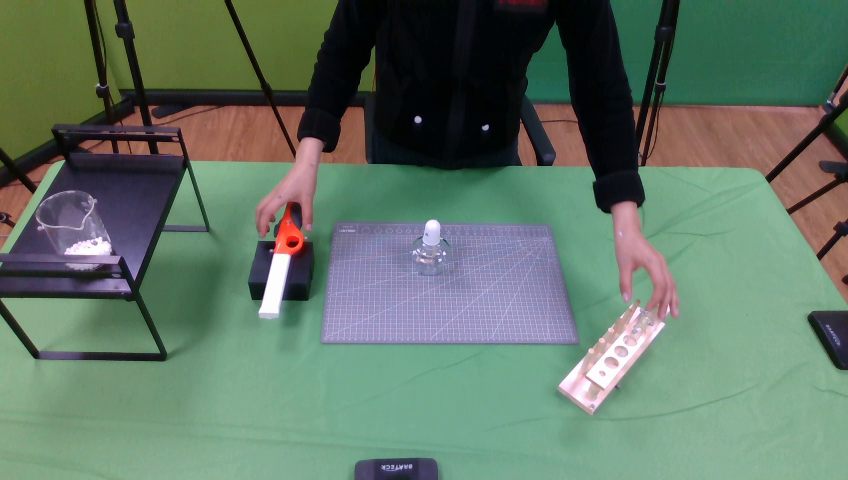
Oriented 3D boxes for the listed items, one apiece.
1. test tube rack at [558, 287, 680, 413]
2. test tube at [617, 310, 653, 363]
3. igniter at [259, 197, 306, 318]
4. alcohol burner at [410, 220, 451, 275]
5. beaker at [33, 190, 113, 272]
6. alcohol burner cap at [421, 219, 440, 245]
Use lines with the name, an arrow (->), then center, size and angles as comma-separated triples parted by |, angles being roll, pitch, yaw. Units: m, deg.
test tube rack -> 0.327, 0.170, 1.009 | 0.066, 0.085, 0.242 | 36, 54, 26
test tube -> 0.329, 0.156, 0.955 | 0.017, 0.151, 0.017 | 2, 51, -2
igniter -> -0.252, 0.021, 1.087 | 0.057, 0.025, 0.275 | 5, 48, -3
alcohol burner -> 0.013, 0.008, 1.120 | 0.078, 0.120, 0.077 | 1, 48, -1
beaker -> -0.493, -0.008, 0.864 | 0.083, 0.101, 0.074 | 37, 55, 27
alcohol burner cap -> 0.013, -0.017, 1.094 | 0.034, 0.048, 0.033 | 5, 43, -5
